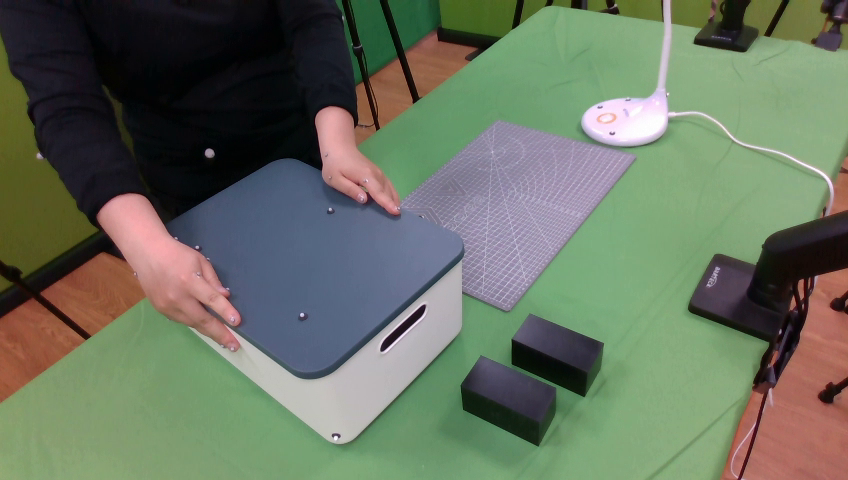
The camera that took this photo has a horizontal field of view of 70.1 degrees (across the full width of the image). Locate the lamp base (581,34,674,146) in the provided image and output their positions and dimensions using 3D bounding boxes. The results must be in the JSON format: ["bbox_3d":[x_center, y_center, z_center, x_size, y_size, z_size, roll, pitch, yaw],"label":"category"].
[{"bbox_3d":[0.392,-0.291,1.129,0.180,0.181,0.159,-11,41,-8],"label":"lamp base"}]

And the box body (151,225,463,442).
[{"bbox_3d":[-0.152,0.064,0.807,0.361,0.161,0.255,26,51,33],"label":"box body"}]

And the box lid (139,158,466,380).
[{"bbox_3d":[-0.158,0.010,0.758,0.368,0.015,0.264,26,50,33],"label":"box lid"}]

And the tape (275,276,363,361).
[{"bbox_3d":[-0.143,0.107,0.831,0.117,0.053,0.116,-4,41,4],"label":"tape"}]
